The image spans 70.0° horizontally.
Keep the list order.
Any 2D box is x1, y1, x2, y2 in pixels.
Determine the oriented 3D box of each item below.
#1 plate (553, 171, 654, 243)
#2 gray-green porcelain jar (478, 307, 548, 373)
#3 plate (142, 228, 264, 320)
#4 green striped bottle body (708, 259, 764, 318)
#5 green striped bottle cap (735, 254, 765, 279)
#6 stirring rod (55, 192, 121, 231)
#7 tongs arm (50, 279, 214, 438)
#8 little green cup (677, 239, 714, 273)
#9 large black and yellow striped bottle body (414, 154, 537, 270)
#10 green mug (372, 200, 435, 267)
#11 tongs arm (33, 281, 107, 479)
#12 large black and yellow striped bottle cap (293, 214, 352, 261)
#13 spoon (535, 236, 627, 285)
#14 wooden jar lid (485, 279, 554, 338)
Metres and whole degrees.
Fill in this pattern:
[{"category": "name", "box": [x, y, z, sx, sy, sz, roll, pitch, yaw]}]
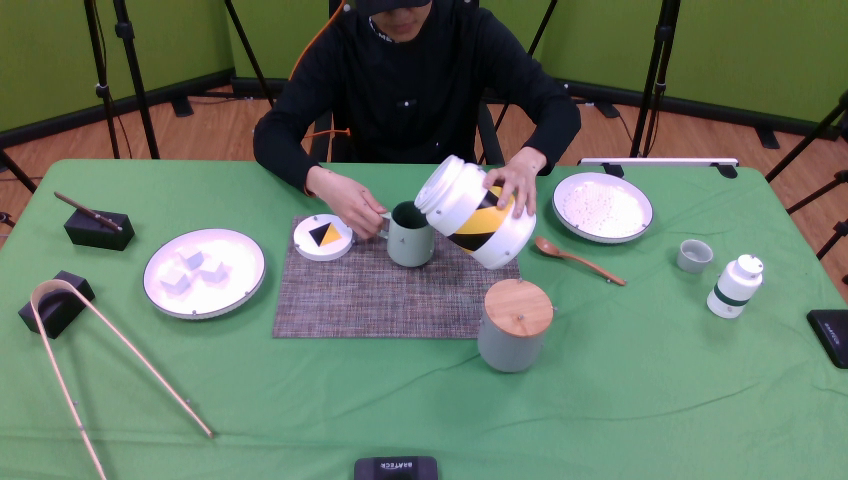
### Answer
[{"category": "plate", "box": [0.373, -0.066, 1.274, 0.209, 0.038, 0.208, 2, 46, -2]}, {"category": "gray-green porcelain jar", "box": [0.144, 0.148, 0.989, 0.106, 0.127, 0.105, 2, 50, -2]}, {"category": "plate", "box": [-0.394, 0.064, 1.095, 0.208, 0.039, 0.206, 2, 46, -2]}, {"category": "green striped bottle body", "box": [0.563, 0.081, 1.089, 0.063, 0.120, 0.063, 2, 46, -2]}, {"category": "green striped bottle cap", "box": [0.566, 0.046, 1.051, 0.044, 0.020, 0.044, 0, 45, 0]}, {"category": "stirring rod", "box": [-0.632, -0.055, 1.138, 0.175, 0.014, 0.006, 24, 50, 19]}, {"category": "tongs arm", "box": [-0.459, 0.178, 0.949, 0.386, 0.028, 0.028, 37, 60, 17]}, {"category": "little green cup", "box": [0.530, 0.033, 1.189, 0.061, 0.039, 0.061, 2, 47, -2]}, {"category": "large black and yellow striped bottle body", "box": [0.086, -0.050, 1.043, 0.184, 0.131, 0.130, 37, 47, -11]}, {"category": "green mug", "box": [-0.040, -0.015, 1.145, 0.125, 0.105, 0.092, 16, 48, 11]}, {"category": "tongs arm", "box": [-0.517, 0.214, 0.910, 0.051, 0.026, 0.383, -29, 63, -26]}, {"category": "large black and yellow striped bottle cap", "box": [-0.198, -0.007, 1.187, 0.115, 0.019, 0.114, 3, 47, -3]}, {"category": "spoon", "box": [0.304, 0.040, 1.177, 0.193, 0.022, 0.041, 25, 31, 20]}, {"category": "wooden jar lid", "box": [0.147, 0.108, 0.940, 0.108, 0.021, 0.107, 4, 48, -4]}]
